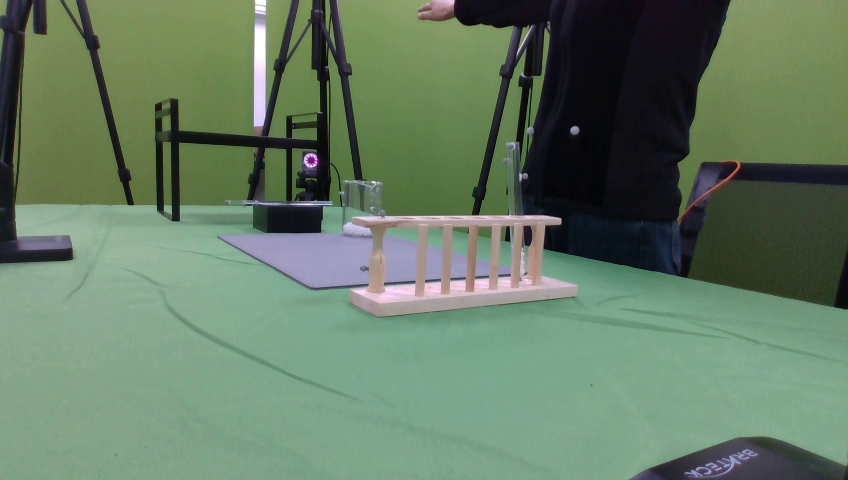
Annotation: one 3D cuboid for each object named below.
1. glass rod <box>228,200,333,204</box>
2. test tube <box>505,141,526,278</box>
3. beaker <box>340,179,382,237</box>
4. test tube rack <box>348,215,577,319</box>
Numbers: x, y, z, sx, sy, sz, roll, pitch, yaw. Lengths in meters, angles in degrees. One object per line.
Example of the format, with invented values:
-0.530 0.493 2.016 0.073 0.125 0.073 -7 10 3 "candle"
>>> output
-0.268 -0.071 1.143 0.201 0.008 0.008 -1 8 -29 "glass rod"
0.101 -0.032 0.664 0.017 0.150 0.017 -5 8 1 "test tube"
-0.113 -0.058 1.094 0.074 0.100 0.083 -2 10 -29 "beaker"
0.048 0.021 0.619 0.244 0.085 0.066 -2 9 -31 "test tube rack"
